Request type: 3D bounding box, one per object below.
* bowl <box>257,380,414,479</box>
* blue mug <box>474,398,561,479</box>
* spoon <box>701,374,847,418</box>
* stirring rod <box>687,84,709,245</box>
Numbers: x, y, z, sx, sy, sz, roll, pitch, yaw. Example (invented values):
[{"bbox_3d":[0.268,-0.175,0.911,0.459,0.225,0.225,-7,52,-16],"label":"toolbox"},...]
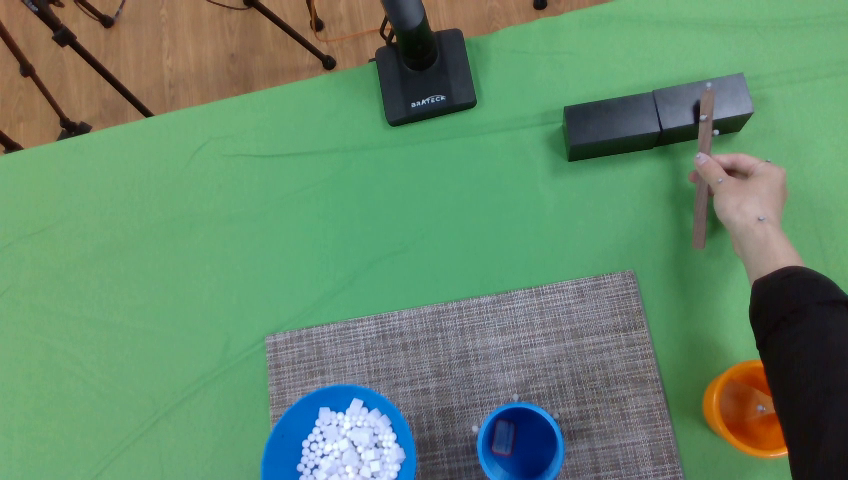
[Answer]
[{"bbox_3d":[-0.081,0.224,0.612,0.151,0.077,0.150,-1,67,4],"label":"bowl"},{"bbox_3d":[0.089,0.219,0.622,0.082,0.106,0.116,27,82,15],"label":"blue mug"},{"bbox_3d":[0.358,0.156,0.573,0.022,0.193,0.041,21,75,-31],"label":"spoon"},{"bbox_3d":[0.302,-0.082,0.667,0.014,0.006,0.176,3,92,28],"label":"stirring rod"}]
